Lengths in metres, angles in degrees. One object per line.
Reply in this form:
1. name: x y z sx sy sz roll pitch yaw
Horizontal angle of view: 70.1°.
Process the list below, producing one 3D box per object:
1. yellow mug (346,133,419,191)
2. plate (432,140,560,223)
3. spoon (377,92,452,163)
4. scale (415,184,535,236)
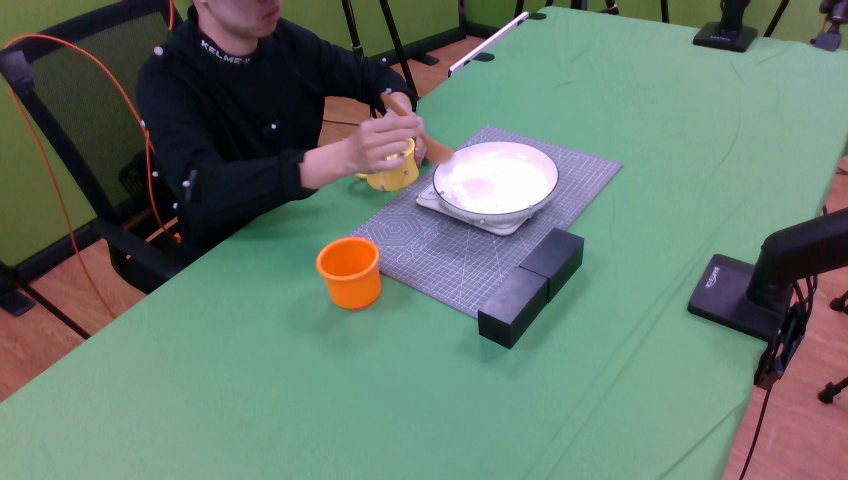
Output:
1. yellow mug: -0.079 -0.143 1.116 0.131 0.064 0.099 -7 40 3
2. plate: 0.118 -0.094 0.999 0.209 0.038 0.208 -4 41 4
3. spoon: -0.015 -0.170 0.928 0.041 0.195 0.021 -30 50 20
4. scale: 0.099 -0.080 1.035 0.199 0.032 0.149 23 48 31
